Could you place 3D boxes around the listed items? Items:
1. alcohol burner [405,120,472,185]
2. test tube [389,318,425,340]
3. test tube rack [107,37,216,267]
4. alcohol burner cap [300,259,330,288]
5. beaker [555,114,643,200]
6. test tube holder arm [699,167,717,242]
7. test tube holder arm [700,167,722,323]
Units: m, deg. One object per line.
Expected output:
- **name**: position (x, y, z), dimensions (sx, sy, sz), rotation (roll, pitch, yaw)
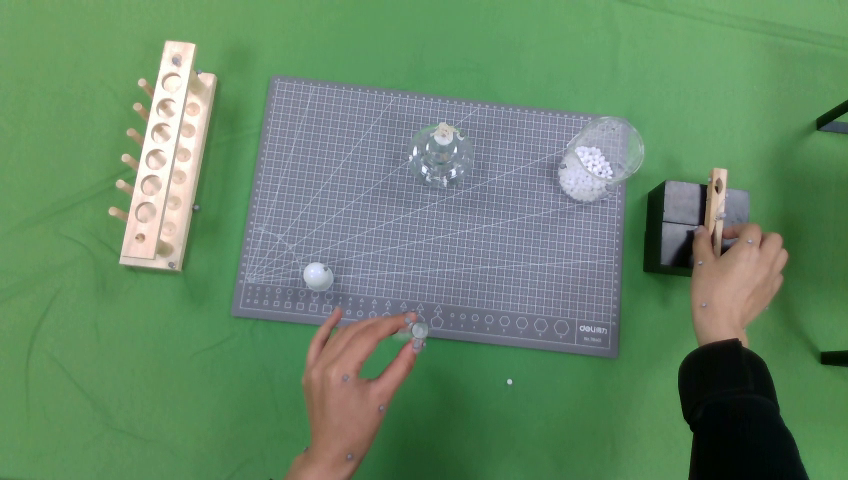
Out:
- **alcohol burner**: position (0.017, -0.104, 0.684), dimensions (0.078, 0.119, 0.077), rotation (0, 79, -1)
- **test tube**: position (-0.018, 0.083, 0.558), dimensions (0.017, 0.150, 0.017), rotation (2, 80, -9)
- **test tube rack**: position (-0.300, -0.098, 0.681), dimensions (0.067, 0.085, 0.241), rotation (7, 79, -2)
- **alcohol burner cap**: position (-0.125, 0.036, 0.686), dimensions (0.034, 0.048, 0.033), rotation (1, 80, -4)
- **beaker**: position (0.194, -0.091, 0.700), dimensions (0.084, 0.100, 0.073), rotation (5, 78, -1)
- **test tube holder arm**: position (0.325, -0.040, 0.692), dimensions (0.010, 0.015, 0.087), rotation (8, 81, 8)
- **test tube holder arm**: position (0.325, 0.005, 0.685), dimensions (0.013, 0.015, 0.178), rotation (6, 81, 7)
